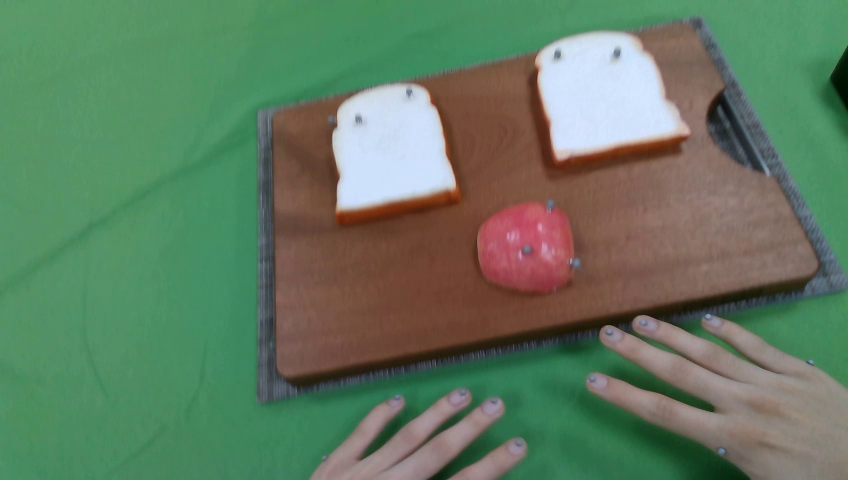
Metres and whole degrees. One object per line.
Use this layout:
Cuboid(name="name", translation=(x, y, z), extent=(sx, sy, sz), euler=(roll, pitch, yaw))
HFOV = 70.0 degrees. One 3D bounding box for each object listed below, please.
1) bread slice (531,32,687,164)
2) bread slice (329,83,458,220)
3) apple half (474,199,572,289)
Cuboid(name="bread slice", translation=(0.146, -0.126, 0.520), extent=(0.107, 0.018, 0.133), euler=(-13, 58, 2))
Cuboid(name="bread slice", translation=(-0.034, -0.083, 0.526), extent=(0.105, 0.019, 0.130), euler=(-11, 60, 1))
Cuboid(name="apple half", translation=(0.074, -0.003, 0.453), extent=(0.081, 0.033, 0.080), euler=(-3, 61, 5))
